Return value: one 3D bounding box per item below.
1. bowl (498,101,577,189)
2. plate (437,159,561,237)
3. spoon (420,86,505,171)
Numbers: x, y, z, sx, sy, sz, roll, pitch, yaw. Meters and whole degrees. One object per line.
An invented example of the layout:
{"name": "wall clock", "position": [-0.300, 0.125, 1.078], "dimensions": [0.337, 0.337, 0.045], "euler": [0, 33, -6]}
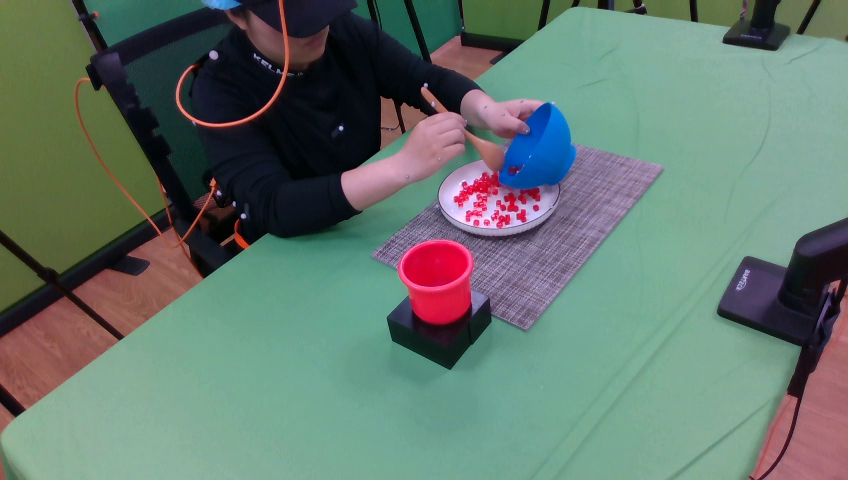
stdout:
{"name": "bowl", "position": [0.194, -0.139, 0.979], "dimensions": [0.077, 0.151, 0.151], "euler": [28, 42, -12]}
{"name": "plate", "position": [0.127, -0.069, 1.023], "dimensions": [0.207, 0.039, 0.206], "euler": [-5, 40, 5]}
{"name": "spoon", "position": [0.063, -0.179, 0.971], "dimensions": [0.041, 0.195, 0.021], "euler": [-57, 21, -11]}
